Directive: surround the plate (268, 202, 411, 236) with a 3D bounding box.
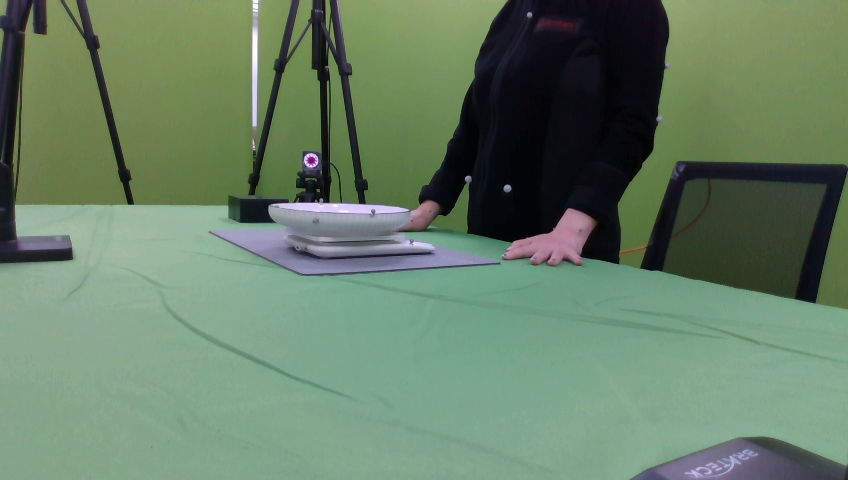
[{"bbox_3d":[-0.123,-0.032,0.894,0.209,0.038,0.209,2,7,0],"label":"plate"}]

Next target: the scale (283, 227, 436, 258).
[{"bbox_3d":[-0.098,0.000,0.914,0.202,0.031,0.148,-2,9,-34],"label":"scale"}]
